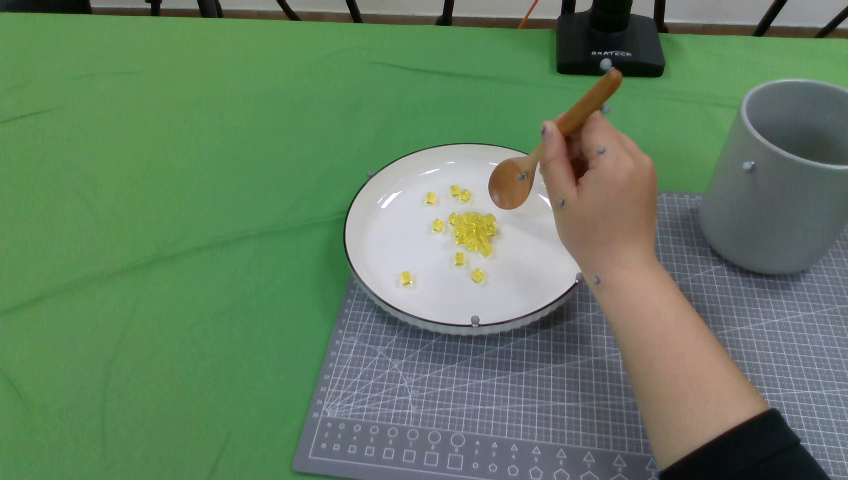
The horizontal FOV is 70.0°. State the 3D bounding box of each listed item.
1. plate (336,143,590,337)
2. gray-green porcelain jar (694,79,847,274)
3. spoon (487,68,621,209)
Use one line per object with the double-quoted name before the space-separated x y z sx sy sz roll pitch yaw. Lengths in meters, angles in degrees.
"plate" 0.032 -0.002 0.512 0.208 0.039 0.205 -1 49 1
"gray-green porcelain jar" 0.280 -0.044 0.478 0.106 0.127 0.105 -1 48 2
"spoon" 0.088 -0.067 0.444 0.022 0.194 0.041 -21 80 -18
